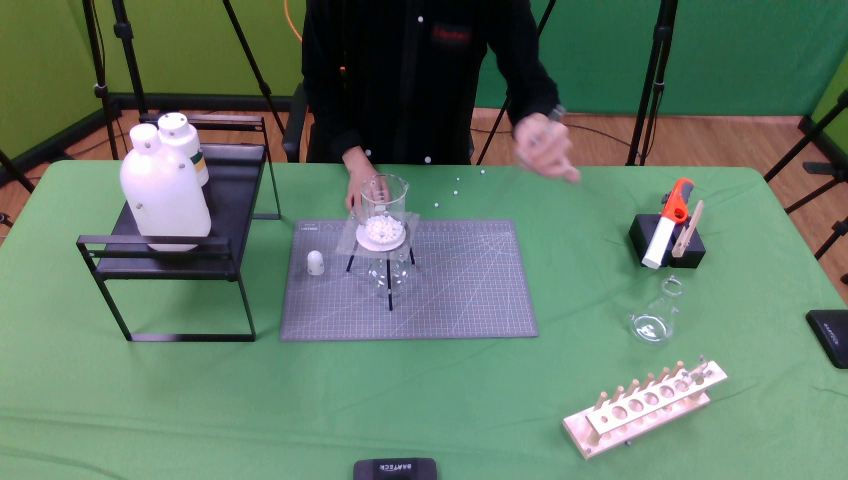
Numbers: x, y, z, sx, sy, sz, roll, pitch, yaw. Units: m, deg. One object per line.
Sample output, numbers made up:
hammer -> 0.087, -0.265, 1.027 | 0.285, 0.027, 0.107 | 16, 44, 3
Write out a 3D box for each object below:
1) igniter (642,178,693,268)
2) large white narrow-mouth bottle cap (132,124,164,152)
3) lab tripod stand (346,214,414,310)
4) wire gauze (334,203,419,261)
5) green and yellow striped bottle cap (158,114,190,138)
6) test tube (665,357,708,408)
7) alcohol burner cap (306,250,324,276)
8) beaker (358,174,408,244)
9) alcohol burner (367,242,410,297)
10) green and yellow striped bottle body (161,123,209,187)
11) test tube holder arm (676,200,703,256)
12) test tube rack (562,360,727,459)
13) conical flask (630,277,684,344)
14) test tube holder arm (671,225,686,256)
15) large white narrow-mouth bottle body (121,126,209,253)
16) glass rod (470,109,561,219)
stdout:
igniter -> 0.488, -0.042, 1.205 | 0.057, 0.025, 0.276 | 30, 52, 11
large white narrow-mouth bottle cap -> -0.370, -0.137, 0.813 | 0.038, 0.024, 0.037 | 3, 46, -3
lab tripod stand -> -0.075, 0.030, 1.082 | 0.148, 0.132, 0.147 | 1, 47, -1
wire gauze -> -0.079, -0.013, 1.031 | 0.121, 0.011, 0.124 | 8, 48, 7
green and yellow striped bottle cap -> -0.393, -0.179, 0.951 | 0.045, 0.020, 0.045 | 2, 44, -2
test tube -> 0.387, 0.215, 0.905 | 0.017, 0.151, 0.017 | 1, 52, -1
alcohol burner cap -> -0.204, 0.040, 1.125 | 0.034, 0.048, 0.033 | 2, 46, -2
beaker -> -0.066, -0.050, 1.001 | 0.084, 0.101, 0.073 | -18, 49, -20
alcohol burner -> -0.064, 0.047, 1.080 | 0.078, 0.120, 0.077 | 1, 47, -1
green and yellow striped bottle body -> -0.395, -0.145, 0.989 | 0.063, 0.120, 0.063 | 2, 46, -2
test tube holder arm -> 0.523, -0.025, 1.190 | 0.013, 0.015, 0.178 | 1, 36, 41
test tube rack -> 0.341, 0.247, 0.940 | 0.243, 0.085, 0.066 | -16, 49, -18
conical flask -> 0.408, 0.117, 1.045 | 0.075, 0.122, 0.075 | 2, 46, -2
test tube holder arm -> 0.494, 0.001, 1.166 | 0.010, 0.015, 0.087 | 1, 36, 42
large white narrow-mouth bottle body -> -0.378, -0.077, 0.875 | 0.102, 0.195, 0.101 | 3, 46, -3
glass rod -> 0.118, -0.096, 0.807 | 0.008, 0.200, 0.008 | 24, 36, -19
